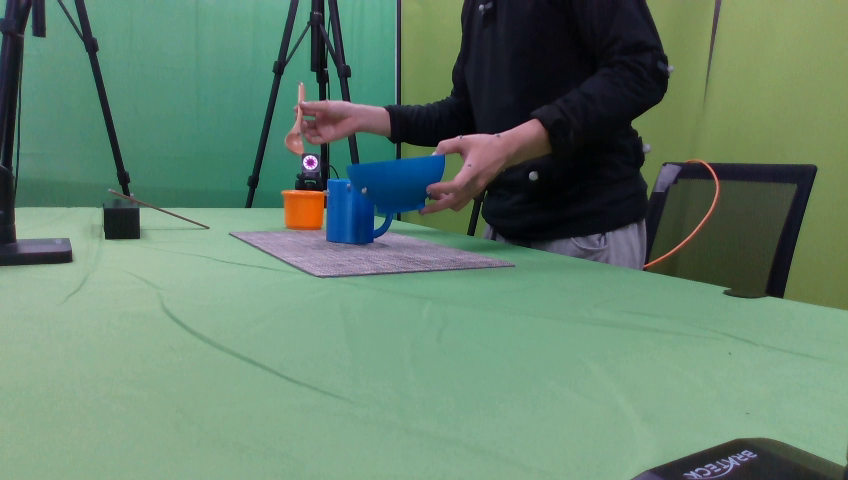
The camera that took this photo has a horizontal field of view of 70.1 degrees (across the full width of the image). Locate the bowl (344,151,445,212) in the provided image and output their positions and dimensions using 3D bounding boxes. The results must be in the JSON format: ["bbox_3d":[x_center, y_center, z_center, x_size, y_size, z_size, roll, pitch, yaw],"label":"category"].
[{"bbox_3d":[-0.040,-0.086,0.904,0.151,0.077,0.151,-6,8,1],"label":"bowl"}]

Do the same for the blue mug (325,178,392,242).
[{"bbox_3d":[-0.111,-0.052,1.034,0.116,0.106,0.082,3,7,7],"label":"blue mug"}]

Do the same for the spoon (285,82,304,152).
[{"bbox_3d":[-0.253,-0.251,1.218,0.042,0.193,0.021,24,-38,-33],"label":"spoon"}]

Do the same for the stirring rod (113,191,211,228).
[{"bbox_3d":[-0.484,-0.055,1.121,0.177,0.006,0.014,22,-6,-22],"label":"stirring rod"}]
